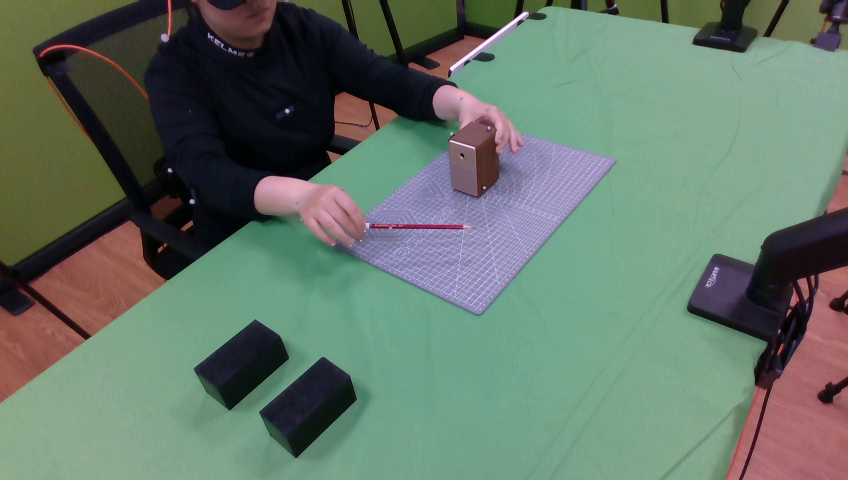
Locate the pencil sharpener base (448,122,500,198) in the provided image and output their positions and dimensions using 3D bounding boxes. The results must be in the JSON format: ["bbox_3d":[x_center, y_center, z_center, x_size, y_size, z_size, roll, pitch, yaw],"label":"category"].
[{"bbox_3d":[0.089,-0.140,1.052,0.061,0.107,0.077,21,47,31],"label":"pencil sharpener base"}]

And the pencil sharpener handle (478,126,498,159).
[{"bbox_3d":[0.118,-0.178,1.074,0.035,0.068,0.031,22,48,30],"label":"pencil sharpener handle"}]

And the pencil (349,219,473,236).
[{"bbox_3d":[-0.021,-0.018,0.938,0.194,0.012,0.012,6,42,6],"label":"pencil"}]
